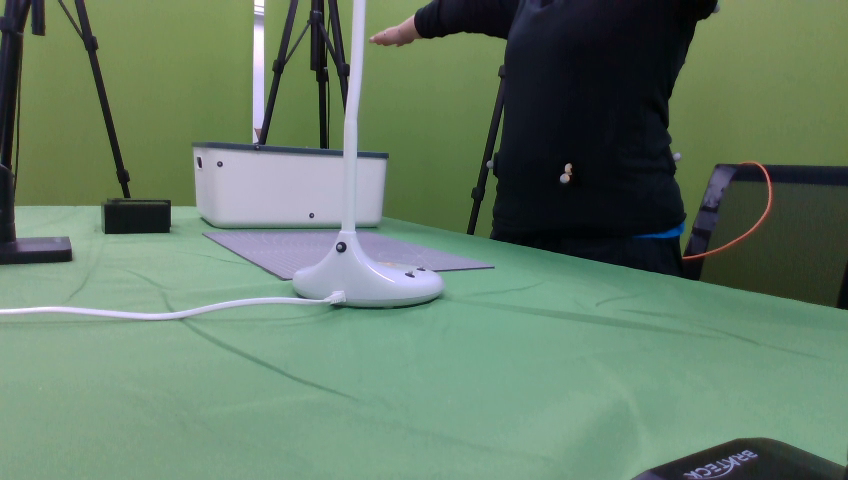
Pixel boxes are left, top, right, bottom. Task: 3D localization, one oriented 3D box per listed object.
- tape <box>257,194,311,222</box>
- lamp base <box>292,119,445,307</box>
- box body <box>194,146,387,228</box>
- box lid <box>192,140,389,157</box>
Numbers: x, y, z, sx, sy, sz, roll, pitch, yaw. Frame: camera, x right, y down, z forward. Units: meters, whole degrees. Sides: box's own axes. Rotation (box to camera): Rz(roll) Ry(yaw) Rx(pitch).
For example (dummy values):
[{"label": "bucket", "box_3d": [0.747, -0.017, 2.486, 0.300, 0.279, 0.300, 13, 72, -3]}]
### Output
[{"label": "tape", "box_3d": [-0.301, -0.070, 1.297, 0.117, 0.052, 0.117, 3, 7, 0]}, {"label": "lamp base", "box_3d": [-0.056, -0.030, 0.616, 0.160, 0.180, 0.179, 3, 10, 8]}, {"label": "box body", "box_3d": [-0.288, -0.118, 1.291, 0.366, 0.160, 0.253, -1, 8, -28]}, {"label": "box lid", "box_3d": [-0.287, -0.191, 1.281, 0.373, 0.015, 0.262, 0, 8, -28]}]
